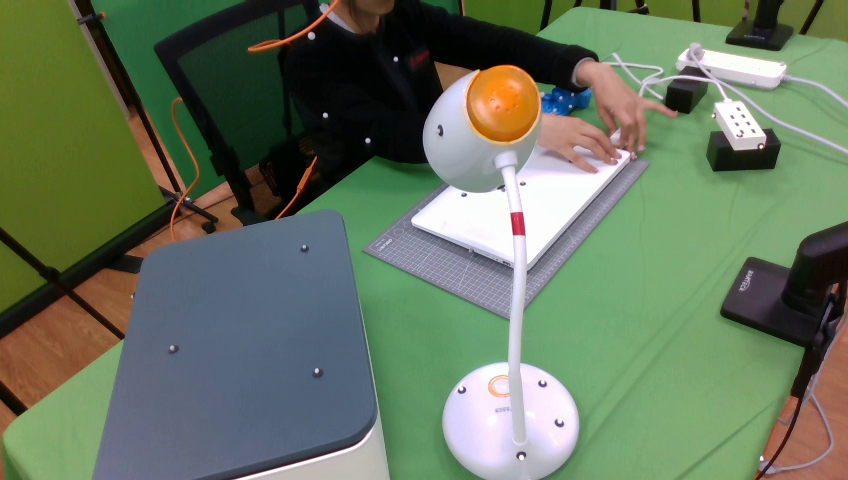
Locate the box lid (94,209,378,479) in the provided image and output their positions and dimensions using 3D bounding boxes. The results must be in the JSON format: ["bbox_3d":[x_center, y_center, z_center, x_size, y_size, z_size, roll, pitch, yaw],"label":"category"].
[{"bbox_3d":[-0.202,0.094,0.680,0.264,0.015,0.368,-13,39,-5],"label":"box lid"}]

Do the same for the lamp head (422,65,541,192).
[{"bbox_3d":[0.060,-0.105,0.560,0.113,0.112,0.122,-16,0,-8],"label":"lamp head"}]

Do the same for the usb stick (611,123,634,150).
[{"bbox_3d":[0.364,-0.188,1.119,0.021,0.027,0.059,8,53,49],"label":"usb stick"}]

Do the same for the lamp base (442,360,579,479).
[{"bbox_3d":[0.094,0.158,0.657,0.161,0.181,0.178,-13,42,-5],"label":"lamp base"}]

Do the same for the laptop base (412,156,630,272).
[{"bbox_3d":[0.175,-0.084,1.056,0.233,0.023,0.355,21,48,35],"label":"laptop base"}]

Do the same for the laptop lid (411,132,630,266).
[{"bbox_3d":[0.172,-0.093,1.050,0.239,0.013,0.358,23,49,36],"label":"laptop lid"}]

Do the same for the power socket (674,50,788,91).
[{"bbox_3d":[0.646,-0.363,1.284,0.225,0.033,0.072,25,52,34],"label":"power socket"}]

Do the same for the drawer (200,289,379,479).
[{"bbox_3d":[-0.172,0.176,0.760,0.195,0.073,0.210,-13,42,-8],"label":"drawer"}]

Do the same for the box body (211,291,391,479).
[{"bbox_3d":[-0.190,0.161,0.723,0.255,0.161,0.361,-13,40,-5],"label":"box body"}]

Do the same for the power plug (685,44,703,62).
[{"bbox_3d":[0.568,-0.390,1.294,0.073,0.053,0.035,-33,46,-22],"label":"power plug"}]

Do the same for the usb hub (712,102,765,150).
[{"bbox_3d":[0.537,-0.197,1.038,0.049,0.025,0.124,-4,39,8],"label":"usb hub"}]

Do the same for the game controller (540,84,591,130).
[{"bbox_3d":[0.277,-0.282,1.251,0.096,0.052,0.155,27,52,30],"label":"game controller"}]
